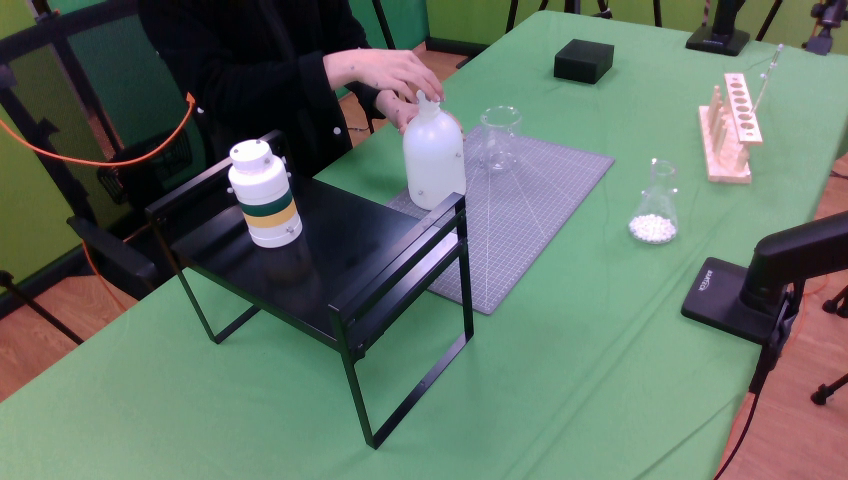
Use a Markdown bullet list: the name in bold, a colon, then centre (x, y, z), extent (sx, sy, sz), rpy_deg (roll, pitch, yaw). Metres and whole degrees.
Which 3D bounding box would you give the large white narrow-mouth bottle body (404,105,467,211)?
- **large white narrow-mouth bottle body**: centre (0.017, -0.152, 1.017), extent (0.102, 0.195, 0.101), rpy_deg (-4, 39, 4)

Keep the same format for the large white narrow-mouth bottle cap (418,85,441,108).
- **large white narrow-mouth bottle cap**: centre (0.008, -0.227, 0.957), extent (0.038, 0.024, 0.037), rpy_deg (-4, 39, 4)

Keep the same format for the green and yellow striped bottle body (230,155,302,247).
- **green and yellow striped bottle body**: centre (-0.188, -0.055, 0.714), extent (0.063, 0.120, 0.063), rpy_deg (-4, 41, 4)

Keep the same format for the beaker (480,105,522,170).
- **beaker**: centre (0.145, -0.187, 1.111), extent (0.084, 0.101, 0.073), rpy_deg (-35, 48, -29)

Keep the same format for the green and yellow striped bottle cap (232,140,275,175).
- **green and yellow striped bottle cap**: centre (-0.192, -0.093, 0.680), extent (0.045, 0.020, 0.045), rpy_deg (-5, 39, 5)

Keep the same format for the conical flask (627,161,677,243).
- **conical flask**: centre (0.355, -0.061, 0.921), extent (0.075, 0.122, 0.075), rpy_deg (-4, 41, 4)

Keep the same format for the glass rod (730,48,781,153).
- **glass rod**: centre (0.554, -0.228, 1.014), extent (0.008, 0.200, 0.008), rpy_deg (1, 44, -1)

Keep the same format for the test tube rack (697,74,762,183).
- **test tube rack**: centre (0.547, -0.208, 1.095), extent (0.066, 0.085, 0.242), rpy_deg (5, 42, 15)
